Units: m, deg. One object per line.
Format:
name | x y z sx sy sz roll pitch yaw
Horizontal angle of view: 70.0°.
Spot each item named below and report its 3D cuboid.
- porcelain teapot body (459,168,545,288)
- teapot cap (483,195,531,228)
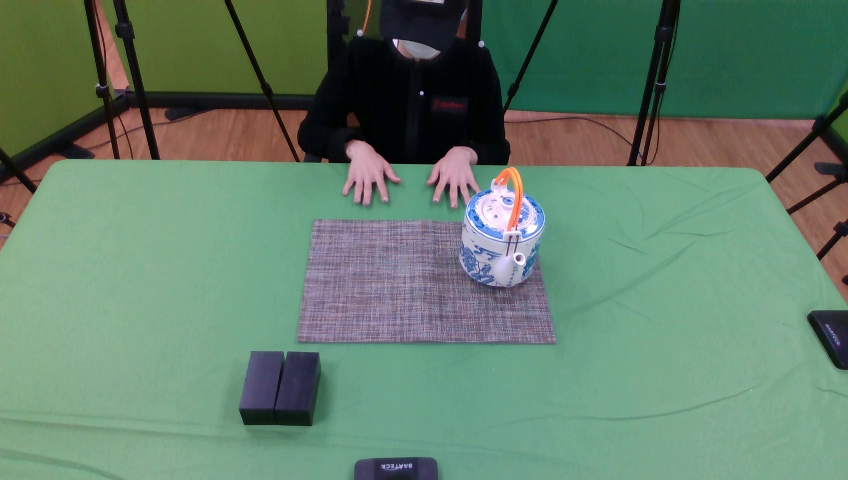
porcelain teapot body | 0.146 -0.006 1.070 0.145 0.226 0.204 -4 46 -8
teapot cap | 0.146 -0.053 1.061 0.085 0.044 0.084 3 45 -3
